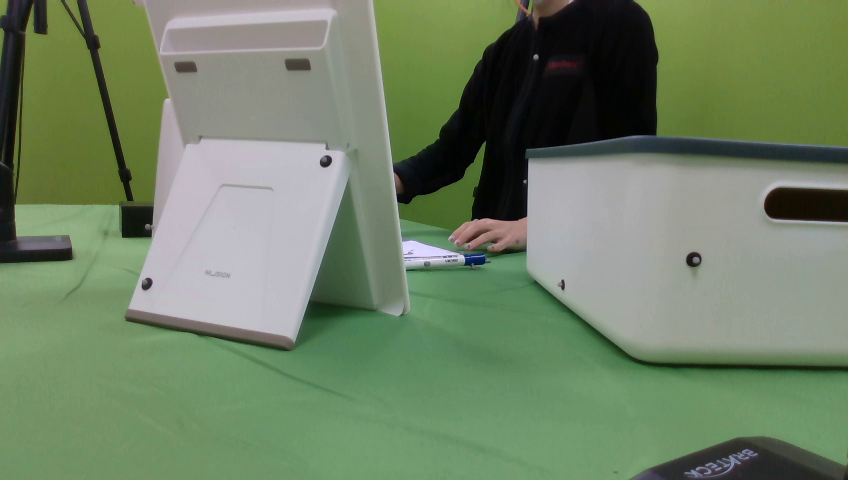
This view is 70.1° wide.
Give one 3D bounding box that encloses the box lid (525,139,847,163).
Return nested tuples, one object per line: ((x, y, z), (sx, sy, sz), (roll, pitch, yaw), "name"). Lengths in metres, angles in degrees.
((0.261, -0.078, 0.580), (0.264, 0.015, 0.371), (2, 7, -4), "box lid")

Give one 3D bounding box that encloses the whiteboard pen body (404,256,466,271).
((0.013, 0.030, 0.792), (0.141, 0.017, 0.017), (-3, 9, -24), "whiteboard pen body")

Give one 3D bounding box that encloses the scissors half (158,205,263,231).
((-0.371, -0.042, 1.062), (0.176, 0.040, 0.012), (8, 5, -28), "scissors half")

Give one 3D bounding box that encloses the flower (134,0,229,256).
((-0.282, -0.146, 0.713), (0.038, 0.362, 0.044), (-23, 24, -31), "flower")

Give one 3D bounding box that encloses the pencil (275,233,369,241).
((-0.169, -0.006, 1.036), (0.195, 0.012, 0.012), (-2, 9, -45), "pencil")

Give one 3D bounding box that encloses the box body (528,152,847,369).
((0.258, -0.005, 0.591), (0.254, 0.160, 0.363), (2, 7, -4), "box body")

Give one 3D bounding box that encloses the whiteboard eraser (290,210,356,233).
((-0.185, -0.034, 1.118), (0.113, 0.042, 0.055), (-5, 5, -44), "whiteboard eraser")

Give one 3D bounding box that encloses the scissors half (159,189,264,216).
((-0.370, -0.062, 1.059), (0.176, 0.040, 0.013), (-11, 8, -26), "scissors half")

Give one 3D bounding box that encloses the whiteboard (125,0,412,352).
((-0.151, -0.049, 0.471), (0.216, 0.305, 0.144), (6, 27, 24), "whiteboard")

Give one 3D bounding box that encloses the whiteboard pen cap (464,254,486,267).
((0.066, 0.027, 0.818), (0.033, 0.018, 0.018), (-5, 10, -25), "whiteboard pen cap")

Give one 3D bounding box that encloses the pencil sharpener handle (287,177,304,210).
((-0.269, -0.096, 1.257), (0.036, 0.067, 0.030), (-8, 8, -27), "pencil sharpener handle")

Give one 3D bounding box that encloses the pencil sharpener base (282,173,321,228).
((-0.247, -0.080, 1.212), (0.061, 0.107, 0.076), (-2, 5, -28), "pencil sharpener base")

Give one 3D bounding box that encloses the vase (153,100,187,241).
((-0.278, -0.066, 0.736), (0.098, 0.200, 0.098), (2, 9, 0), "vase")
